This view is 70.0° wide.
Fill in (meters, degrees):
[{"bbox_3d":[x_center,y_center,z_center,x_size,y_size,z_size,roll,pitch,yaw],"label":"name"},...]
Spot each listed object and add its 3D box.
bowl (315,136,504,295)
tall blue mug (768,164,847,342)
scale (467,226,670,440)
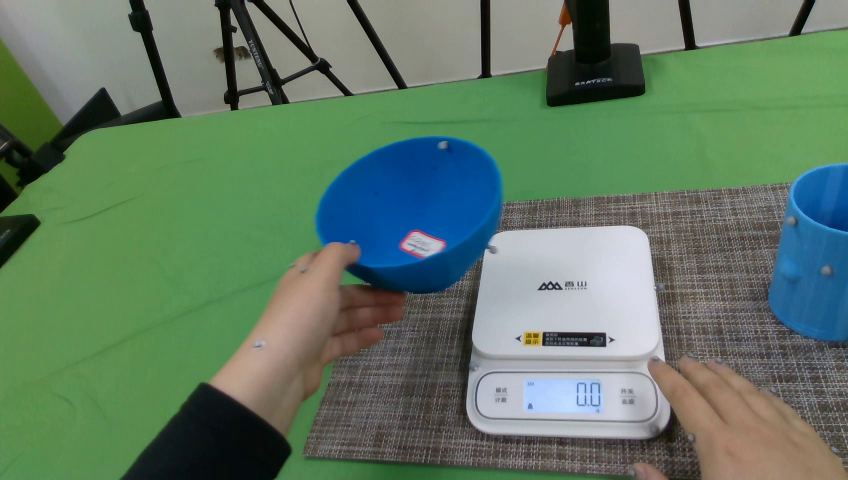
[{"bbox_3d":[-0.003,-0.008,0.492,0.151,0.077,0.150,-10,44,10],"label":"bowl"},{"bbox_3d":[0.308,0.017,0.427,0.078,0.109,0.106,-37,44,-22],"label":"tall blue mug"},{"bbox_3d":[0.116,0.067,0.501,0.148,0.032,0.199,-3,43,17],"label":"scale"}]
